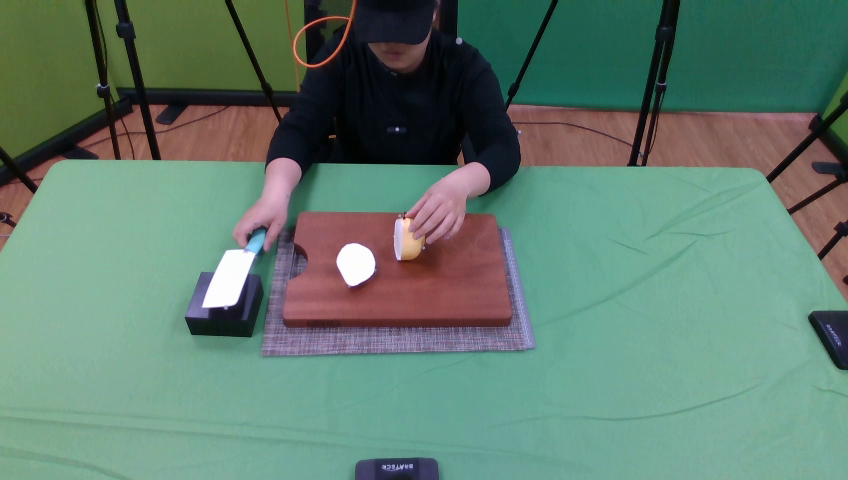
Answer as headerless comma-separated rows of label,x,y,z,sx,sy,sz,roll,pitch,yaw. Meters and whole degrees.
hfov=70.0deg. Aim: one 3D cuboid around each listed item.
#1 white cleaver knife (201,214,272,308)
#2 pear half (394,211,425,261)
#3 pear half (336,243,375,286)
white cleaver knife,-0.334,0.029,1.096,0.066,0.021,0.285,4,32,-1
pear half,-0.025,-0.014,1.110,0.056,0.110,0.076,-10,52,-14
pear half,-0.127,0.050,1.094,0.070,0.031,0.087,17,58,-8
